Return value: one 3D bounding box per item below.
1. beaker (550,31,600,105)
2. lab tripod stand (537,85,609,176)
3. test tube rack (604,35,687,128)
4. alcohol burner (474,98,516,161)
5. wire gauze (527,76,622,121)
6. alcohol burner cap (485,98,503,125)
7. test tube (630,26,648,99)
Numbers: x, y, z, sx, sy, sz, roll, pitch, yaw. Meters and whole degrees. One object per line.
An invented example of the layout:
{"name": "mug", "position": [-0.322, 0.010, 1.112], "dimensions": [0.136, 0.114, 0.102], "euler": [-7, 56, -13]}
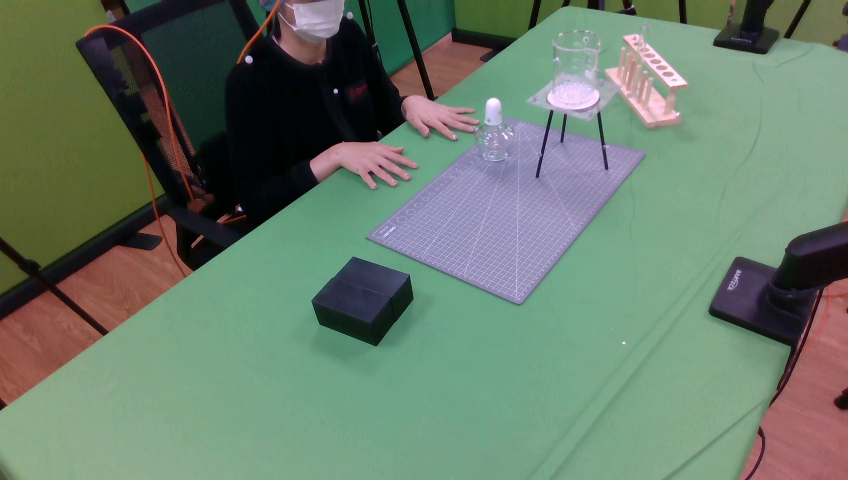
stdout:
{"name": "beaker", "position": [0.250, -0.281, 0.996], "dimensions": [0.074, 0.101, 0.083], "euler": [-37, 49, -27]}
{"name": "lab tripod stand", "position": [0.259, -0.192, 1.068], "dimensions": [0.148, 0.132, 0.147], "euler": [-4, 43, 4]}
{"name": "test tube rack", "position": [0.447, -0.330, 1.241], "dimensions": [0.067, 0.085, 0.241], "euler": [-9, 41, -2]}
{"name": "alcohol burner", "position": [0.131, -0.208, 1.121], "dimensions": [0.078, 0.119, 0.077], "euler": [-6, 40, 5]}
{"name": "wire gauze", "position": [0.255, -0.247, 1.030], "dimensions": [0.124, 0.011, 0.122], "euler": [23, 49, 34]}
{"name": "alcohol burner cap", "position": [0.126, -0.234, 1.097], "dimensions": [0.034, 0.048, 0.033], "euler": [-3, 39, 3]}
{"name": "test tube", "position": [0.426, -0.350, 1.199], "dimensions": [0.017, 0.151, 0.017], "euler": [-4, 42, 4]}
